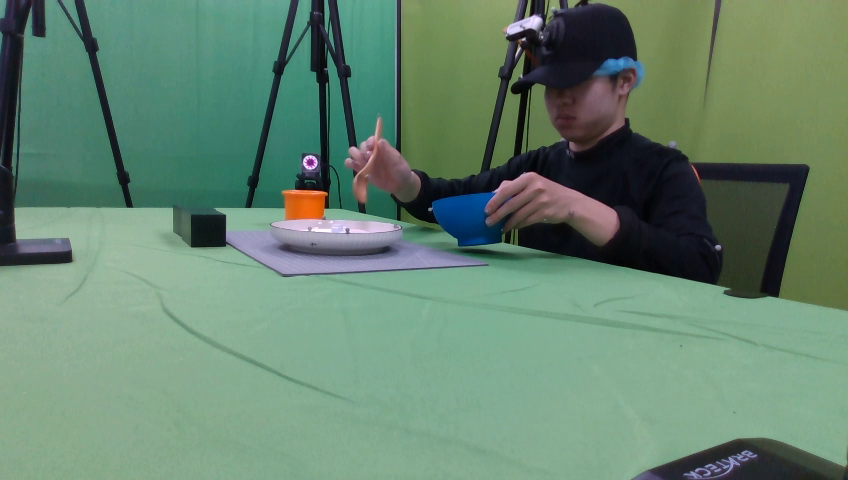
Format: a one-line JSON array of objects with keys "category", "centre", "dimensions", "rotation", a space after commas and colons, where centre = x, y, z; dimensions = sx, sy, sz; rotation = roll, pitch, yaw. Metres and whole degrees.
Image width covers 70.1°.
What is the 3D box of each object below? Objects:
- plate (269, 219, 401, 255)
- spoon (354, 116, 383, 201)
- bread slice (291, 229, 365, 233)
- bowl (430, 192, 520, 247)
[{"category": "plate", "centre": [-0.140, -0.006, 0.958], "dimensions": [0.209, 0.038, 0.209], "rotation": [3, 7, 0]}, {"category": "spoon", "centre": [-0.090, -0.144, 1.033], "dimensions": [0.021, 0.193, 0.042], "rotation": [-5, -39, 25]}, {"category": "bread slice", "centre": [-0.143, -0.003, 0.953], "dimensions": [0.135, 0.018, 0.106], "rotation": [-1, 8, -37]}, {"category": "bowl", "centre": [0.088, -0.030, 1.002], "dimensions": [0.151, 0.076, 0.151], "rotation": [-5, -3, 0]}]
